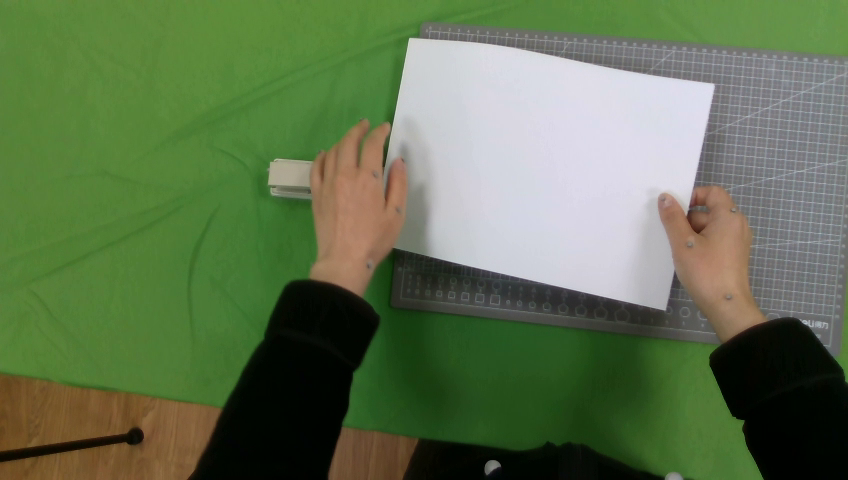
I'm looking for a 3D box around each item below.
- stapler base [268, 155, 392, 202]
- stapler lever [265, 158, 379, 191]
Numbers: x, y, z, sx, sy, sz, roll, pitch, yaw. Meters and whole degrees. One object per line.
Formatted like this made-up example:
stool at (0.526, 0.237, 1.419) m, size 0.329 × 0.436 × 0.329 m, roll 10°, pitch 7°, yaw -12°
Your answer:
stapler base at (-0.100, -0.065, 0.628) m, size 0.130 × 0.024 × 0.041 m, roll 5°, pitch 87°, yaw 5°
stapler lever at (-0.104, -0.066, 0.604) m, size 0.118 × 0.040 × 0.027 m, roll 5°, pitch 86°, yaw 4°
